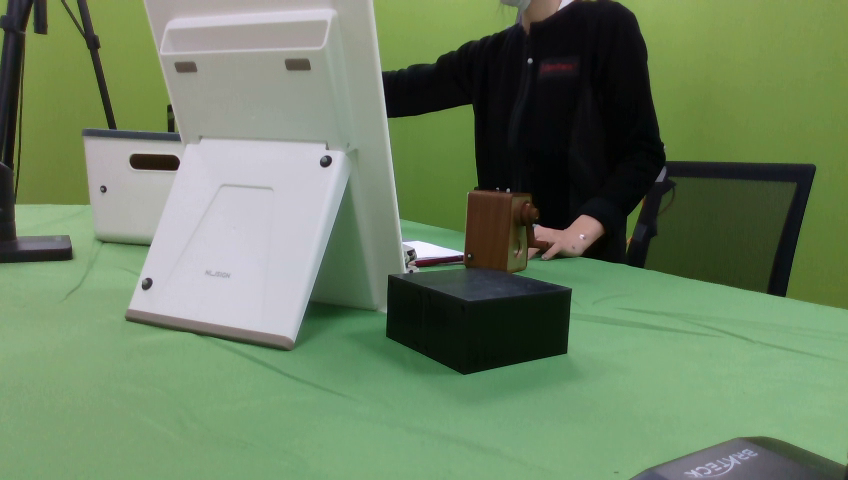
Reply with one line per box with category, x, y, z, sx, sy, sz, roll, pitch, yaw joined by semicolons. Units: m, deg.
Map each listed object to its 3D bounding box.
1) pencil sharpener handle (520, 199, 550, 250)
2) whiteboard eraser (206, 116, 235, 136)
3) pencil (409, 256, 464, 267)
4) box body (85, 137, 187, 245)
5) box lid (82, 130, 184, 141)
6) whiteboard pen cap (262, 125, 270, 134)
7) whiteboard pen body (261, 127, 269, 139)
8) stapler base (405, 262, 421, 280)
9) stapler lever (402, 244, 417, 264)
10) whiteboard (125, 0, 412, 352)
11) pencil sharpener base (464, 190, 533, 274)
pencil sharpener handle;0.147;-0.019;0.785;0.030;0.068;0.036;8;26;36
whiteboard eraser;-0.450;-0.252;1.335;0.056;0.042;0.112;1;7;-22
pencil;0.041;0.028;0.848;0.012;0.012;0.195;10;10;43
box body;-0.340;-0.088;1.022;0.254;0.160;0.364;4;7;11
box lid;-0.337;-0.161;1.011;0.263;0.015;0.372;4;7;11
whiteboard pen cap;-0.349;-0.243;1.335;0.018;0.018;0.033;0;2;-16
whiteboard pen body;-0.365;-0.247;1.391;0.017;0.017;0.140;0;3;-16
stapler base;-0.069;0.027;0.759;0.130;0.024;0.041;9;13;23
stapler lever;-0.066;0.003;0.755;0.117;0.040;0.027;9;13;23
whiteboard;-0.151;-0.049;0.472;0.216;0.305;0.144;6;27;24
pencil sharpener base;0.102;-0.012;0.812;0.076;0.107;0.061;8;9;36
